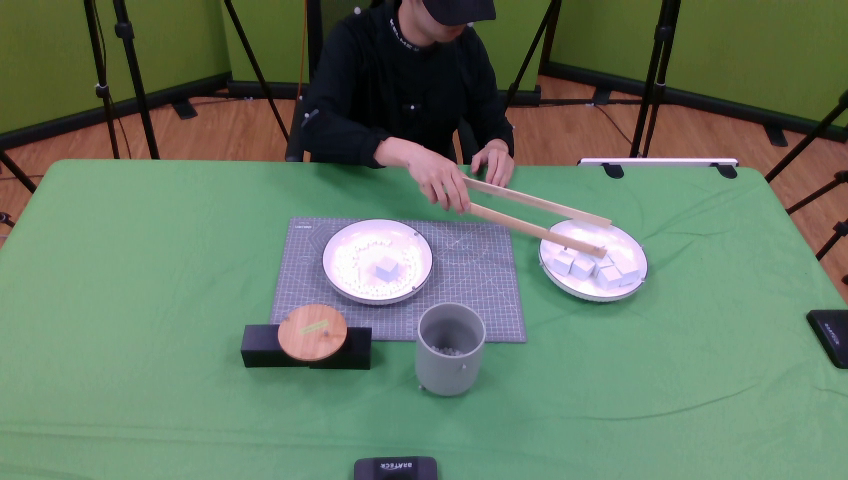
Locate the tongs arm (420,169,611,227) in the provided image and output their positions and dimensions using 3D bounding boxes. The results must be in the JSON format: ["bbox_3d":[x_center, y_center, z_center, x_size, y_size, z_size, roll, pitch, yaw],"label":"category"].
[{"bbox_3d":[0.180,-0.082,1.205,0.387,0.028,0.028,15,51,2],"label":"tongs arm"}]

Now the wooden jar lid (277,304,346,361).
[{"bbox_3d":[-0.179,0.150,0.972,0.108,0.021,0.107,2,45,-2],"label":"wooden jar lid"}]

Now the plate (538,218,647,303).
[{"bbox_3d":[0.322,0.042,1.171,0.208,0.039,0.206,2,46,-2],"label":"plate"}]

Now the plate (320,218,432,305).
[{"bbox_3d":[-0.089,0.044,1.134,0.209,0.038,0.208,3,46,-2],"label":"plate"}]

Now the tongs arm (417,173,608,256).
[{"bbox_3d":[0.166,-0.050,1.172,0.384,0.026,0.050,17,48,4],"label":"tongs arm"}]

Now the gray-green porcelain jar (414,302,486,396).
[{"bbox_3d":[0.038,0.177,0.958,0.106,0.127,0.105,2,46,-2],"label":"gray-green porcelain jar"}]
